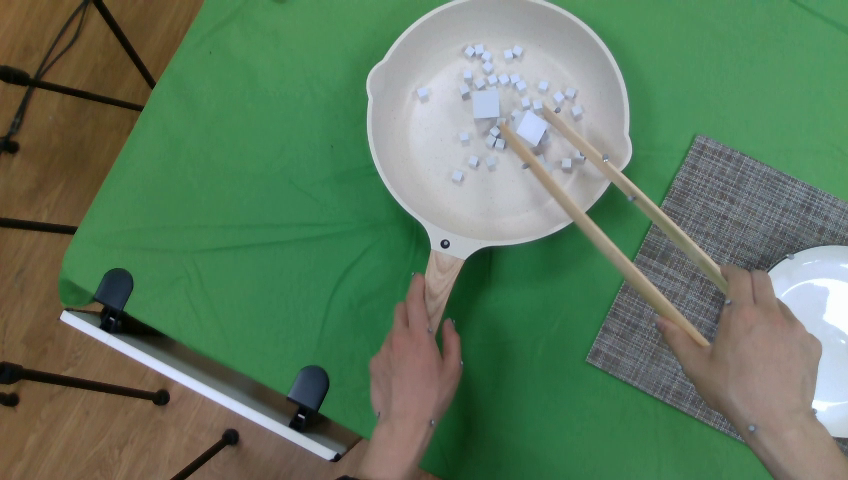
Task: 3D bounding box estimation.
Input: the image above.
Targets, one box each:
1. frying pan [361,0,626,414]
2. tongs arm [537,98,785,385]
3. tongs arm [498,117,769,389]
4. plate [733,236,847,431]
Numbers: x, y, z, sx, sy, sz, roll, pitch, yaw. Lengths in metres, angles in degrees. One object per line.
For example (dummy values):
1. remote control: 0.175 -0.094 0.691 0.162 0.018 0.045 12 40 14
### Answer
1. frying pan: 0.041 -0.046 0.678 0.306 0.103 0.486 19 76 7
2. tongs arm: 0.207 -0.023 0.603 0.051 0.027 0.380 -29 54 -10
3. tongs arm: 0.178 -0.008 0.598 0.028 0.028 0.383 -25 53 -12
4. plate: 0.442 0.100 0.664 0.207 0.039 0.207 0 83 4
